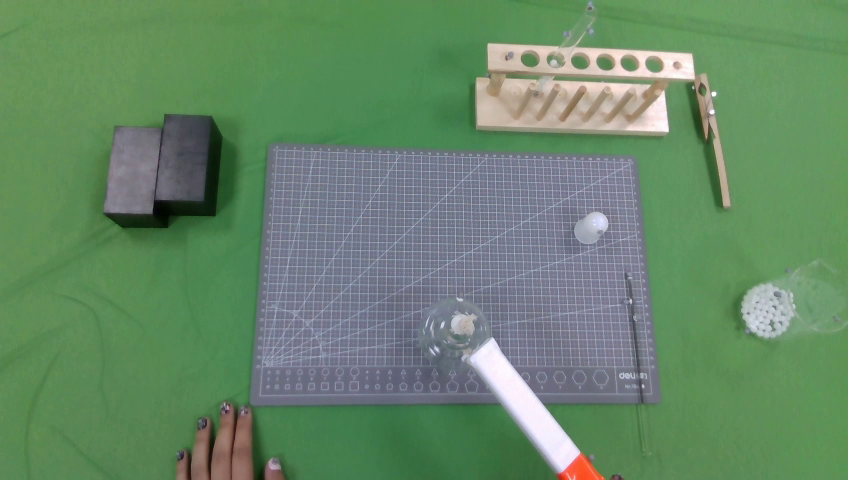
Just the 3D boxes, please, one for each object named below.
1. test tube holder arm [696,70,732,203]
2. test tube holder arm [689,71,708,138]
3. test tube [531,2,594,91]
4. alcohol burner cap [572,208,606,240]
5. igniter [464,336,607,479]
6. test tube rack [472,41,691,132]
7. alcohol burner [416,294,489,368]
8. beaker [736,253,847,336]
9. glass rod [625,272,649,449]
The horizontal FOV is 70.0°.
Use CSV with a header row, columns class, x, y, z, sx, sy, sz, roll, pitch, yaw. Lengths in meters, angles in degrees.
class,x,y,z,sx,sy,sz,roll,pitch,yaw
test tube holder arm,0.366,-0.132,0.766,0.013,0.015,0.177,-15,75,28
test tube holder arm,0.355,-0.174,0.779,0.010,0.015,0.087,-14,75,28
test tube,0.151,-0.212,0.682,0.017,0.150,0.017,4,72,-11
alcohol burner cap,0.195,-0.021,0.707,0.034,0.048,0.033,1,75,-5
igniter,0.132,0.205,0.543,0.057,0.025,0.276,-36,86,-22
test tube rack,0.185,-0.181,0.728,0.243,0.085,0.066,1,75,-6
alcohol burner,0.032,0.090,0.624,0.078,0.119,0.077,1,73,-4
beaker,0.408,0.065,0.679,0.074,0.100,0.083,14,73,-1
glass rod,0.241,0.134,0.688,0.008,0.008,0.198,0,75,-6
